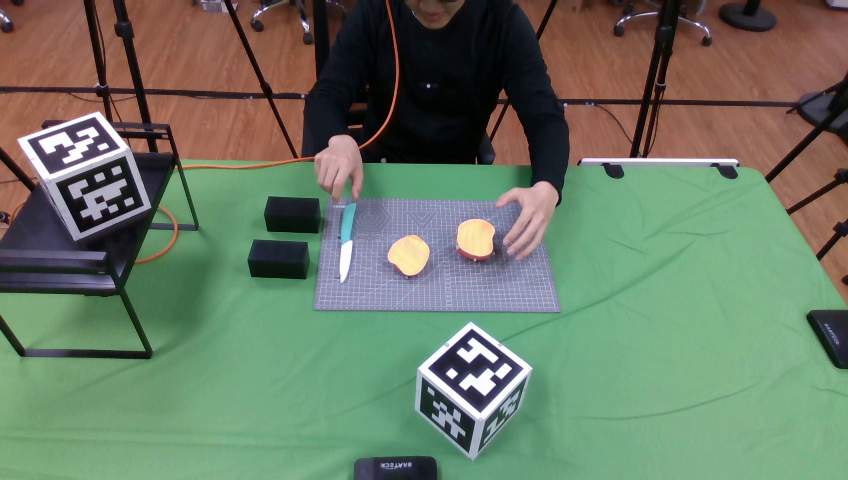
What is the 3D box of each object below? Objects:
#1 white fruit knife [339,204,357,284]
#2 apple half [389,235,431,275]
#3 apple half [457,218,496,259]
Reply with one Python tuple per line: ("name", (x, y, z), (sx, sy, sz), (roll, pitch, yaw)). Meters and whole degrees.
("white fruit knife", (-0.151, 0.004, 1.180), (0.027, 0.016, 0.206), (-4, 47, 3))
("apple half", (-0.023, 0.032, 1.145), (0.081, 0.033, 0.081), (-2, 65, 5))
("apple half", (0.099, 0.002, 1.169), (0.075, 0.053, 0.080), (5, 66, -6))
